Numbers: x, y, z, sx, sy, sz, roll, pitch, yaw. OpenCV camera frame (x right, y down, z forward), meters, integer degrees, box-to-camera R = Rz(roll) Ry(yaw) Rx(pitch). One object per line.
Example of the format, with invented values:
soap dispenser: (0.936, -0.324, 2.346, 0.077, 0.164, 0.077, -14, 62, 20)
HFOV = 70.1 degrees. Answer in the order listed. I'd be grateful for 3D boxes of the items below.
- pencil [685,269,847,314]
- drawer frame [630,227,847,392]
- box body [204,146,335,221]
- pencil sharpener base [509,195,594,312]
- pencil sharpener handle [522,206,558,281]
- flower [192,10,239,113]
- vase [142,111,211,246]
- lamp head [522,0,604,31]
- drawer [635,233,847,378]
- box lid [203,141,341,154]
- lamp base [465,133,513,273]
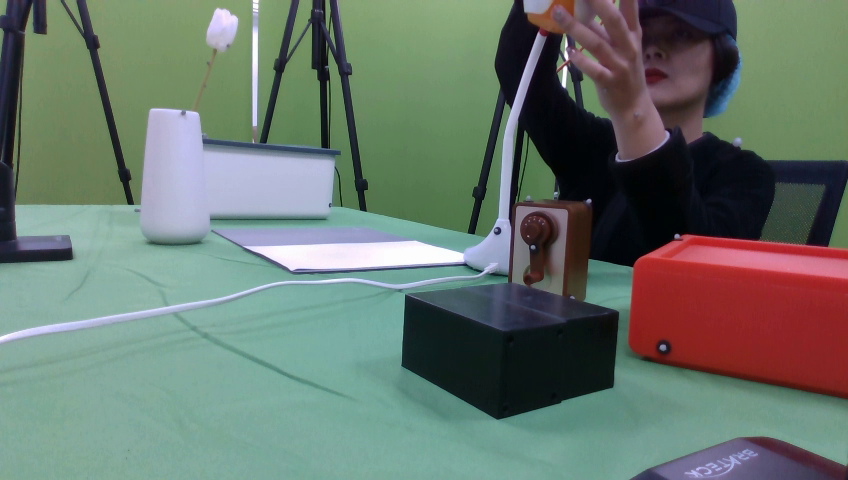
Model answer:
pencil: (0.308, 0.045, 0.516, 0.194, 0.012, 0.012, 13, 5, -11)
drawer frame: (0.292, 0.044, 0.484, 0.201, 0.082, 0.214, 7, 9, 29)
box body: (-0.411, -0.135, 1.386, 0.366, 0.160, 0.253, -2, 9, -29)
pencil sharpener base: (0.126, 0.011, 0.601, 0.061, 0.107, 0.077, 7, 9, 30)
pencil sharpener handle: (0.102, 0.003, 0.555, 0.036, 0.067, 0.031, 0, 5, 31)
flower: (-0.354, -0.174, 0.915, 0.038, 0.361, 0.044, 18, -3, 12)
vase: (-0.378, -0.093, 0.920, 0.098, 0.200, 0.098, 2, 9, 0)
lamp head: (0.149, -0.282, 0.629, 0.112, 0.123, 0.112, 13, 18, -4)
drawer: (0.292, 0.045, 0.488, 0.193, 0.073, 0.213, 7, 9, 30)
box lid: (-0.396, -0.212, 1.373, 0.373, 0.015, 0.262, -1, 9, -29)
lamp base: (0.133, -0.052, 0.808, 0.160, 0.180, 0.180, 6, 12, 26)
